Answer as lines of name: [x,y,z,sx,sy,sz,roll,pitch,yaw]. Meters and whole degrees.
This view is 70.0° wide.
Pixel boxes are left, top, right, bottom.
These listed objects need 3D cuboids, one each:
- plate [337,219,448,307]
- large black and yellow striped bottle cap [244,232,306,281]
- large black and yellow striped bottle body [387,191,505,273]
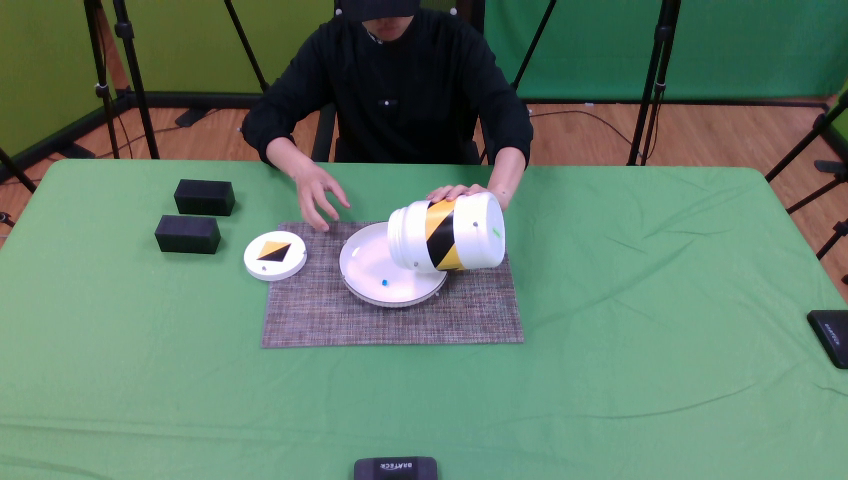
plate: [-0.057,0.045,1.133,0.208,0.039,0.206,2,46,-2]
large black and yellow striped bottle cap: [-0.282,0.030,1.145,0.115,0.019,0.114,-1,45,1]
large black and yellow striped bottle body: [0.039,-0.010,1.061,0.184,0.131,0.130,-6,42,22]
